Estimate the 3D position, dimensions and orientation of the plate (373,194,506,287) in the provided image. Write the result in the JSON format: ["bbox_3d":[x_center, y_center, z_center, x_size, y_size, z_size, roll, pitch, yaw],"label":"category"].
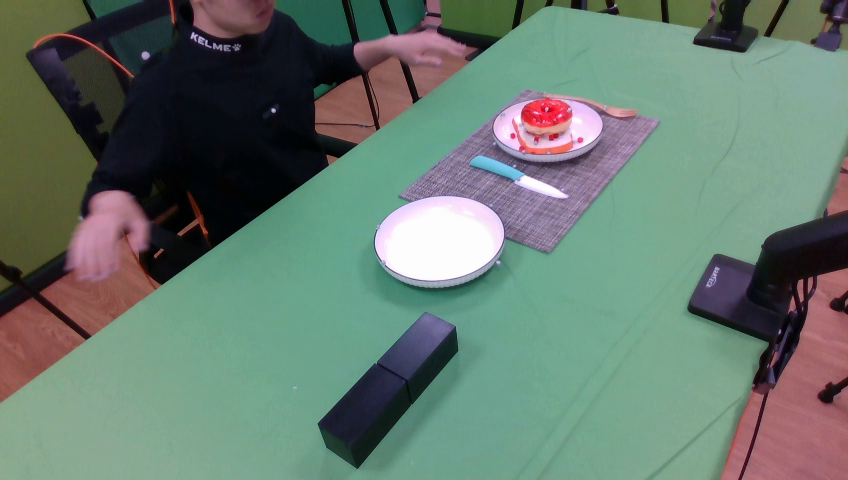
[{"bbox_3d":[0.025,0.003,0.952,0.207,0.039,0.206,-4,41,4],"label":"plate"}]

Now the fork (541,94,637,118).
[{"bbox_3d":[0.334,-0.277,1.240,0.206,0.019,0.028,22,56,27],"label":"fork"}]

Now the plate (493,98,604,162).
[{"bbox_3d":[0.237,-0.206,1.158,0.209,0.038,0.208,-4,40,4],"label":"plate"}]

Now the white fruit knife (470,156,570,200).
[{"bbox_3d":[0.169,-0.111,1.076,0.205,0.016,0.027,28,80,32],"label":"white fruit knife"}]

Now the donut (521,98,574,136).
[{"bbox_3d":[0.232,-0.232,1.135,0.099,0.048,0.098,-4,41,4],"label":"donut"}]

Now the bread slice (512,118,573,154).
[{"bbox_3d":[0.232,-0.204,1.160,0.105,0.019,0.131,-7,40,1],"label":"bread slice"}]
